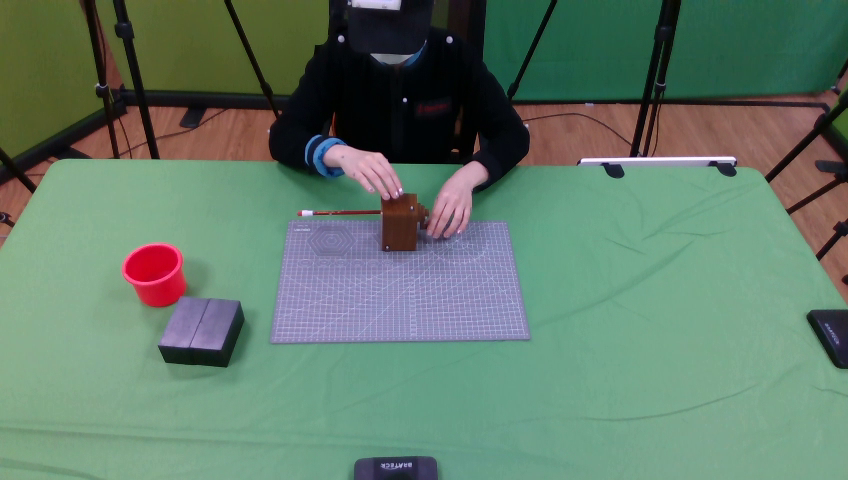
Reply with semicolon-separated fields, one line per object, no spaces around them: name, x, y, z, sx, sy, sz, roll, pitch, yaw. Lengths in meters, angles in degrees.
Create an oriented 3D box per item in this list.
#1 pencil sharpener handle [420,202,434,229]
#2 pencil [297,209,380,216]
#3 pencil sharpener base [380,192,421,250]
pencil sharpener handle;0.006;-0.045;1.160;0.031;0.068;0.036;0;53;-4
pencil;-0.143;-0.053;1.141;0.194;0.012;0.012;-1;46;0
pencil sharpener base;-0.046;-0.035;1.163;0.077;0.107;0.061;0;46;-4
